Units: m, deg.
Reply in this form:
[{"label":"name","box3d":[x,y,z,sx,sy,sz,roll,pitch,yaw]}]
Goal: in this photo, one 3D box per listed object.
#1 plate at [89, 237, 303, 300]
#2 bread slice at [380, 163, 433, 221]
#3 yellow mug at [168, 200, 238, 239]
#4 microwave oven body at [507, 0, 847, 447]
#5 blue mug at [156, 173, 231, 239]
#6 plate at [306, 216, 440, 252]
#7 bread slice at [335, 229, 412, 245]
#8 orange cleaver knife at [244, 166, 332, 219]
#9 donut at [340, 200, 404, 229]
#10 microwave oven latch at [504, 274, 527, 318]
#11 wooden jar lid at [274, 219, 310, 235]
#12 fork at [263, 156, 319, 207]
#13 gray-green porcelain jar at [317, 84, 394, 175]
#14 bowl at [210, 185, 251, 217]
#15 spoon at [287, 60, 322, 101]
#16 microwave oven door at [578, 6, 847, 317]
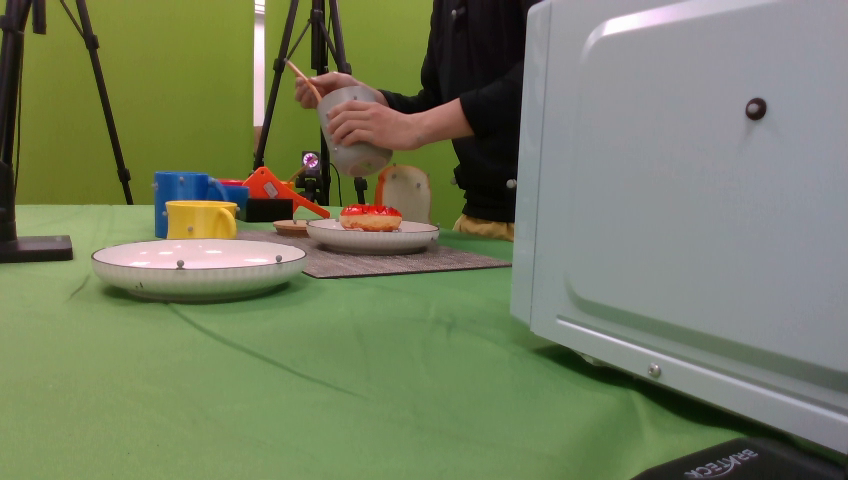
[{"label":"plate","box3d":[-0.233,0.029,0.637,0.208,0.039,0.207,2,7,0]},{"label":"bread slice","box3d":[-0.035,-0.076,1.126,0.107,0.134,0.018,-3,2,-25]},{"label":"yellow mug","box3d":[-0.320,-0.023,0.904,0.130,0.064,0.100,9,11,36]},{"label":"microwave oven body","box3d":[0.331,-0.042,0.425,0.444,0.260,0.324,-2,8,-31]},{"label":"blue mug","box3d":[-0.381,-0.057,1.004,0.117,0.106,0.082,1,8,-12]},{"label":"plate","box3d":[-0.079,-0.011,0.950,0.209,0.038,0.209,2,8,0]},{"label":"bread slice","box3d":[-0.074,-0.006,0.938,0.105,0.019,0.131,-1,4,-19]},{"label":"orange cleaver knife","box3d":[-0.301,-0.089,1.351,0.212,0.077,0.012,32,-11,-34]},{"label":"donut","box3d":[-0.081,-0.038,0.944,0.099,0.048,0.099,1,5,0]},{"label":"microwave oven latch","box3d":[0.100,0.041,0.471,0.079,0.029,0.030,-1,8,-28]},{"label":"wooden jar lid","box3d":[-0.213,-0.023,1.081,0.108,0.020,0.108,3,7,0]},{"label":"fork","box3d":[-0.331,-0.143,1.505,0.207,0.018,0.028,-42,-20,22]},{"label":"gray-green porcelain jar","box3d":[-0.115,-0.184,1.034,0.106,0.126,0.106,-20,-16,-6]},{"label":"bowl","box3d":[-0.408,-0.064,1.154,0.151,0.077,0.151,2,8,0]},{"label":"spoon","box3d":[-0.192,-0.260,1.081,0.021,0.193,0.042,-41,-22,14]},{"label":"microwave oven door","box3d":[0.294,-0.067,0.570,0.358,0.243,0.039,-3,9,-31]}]
